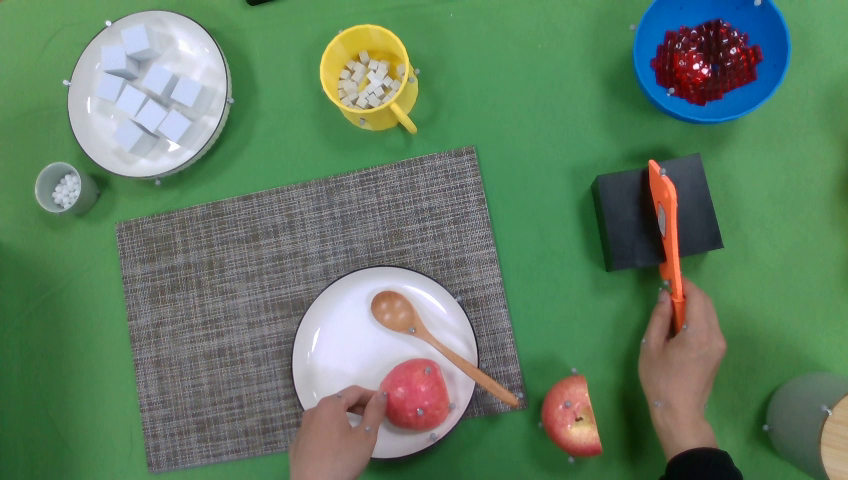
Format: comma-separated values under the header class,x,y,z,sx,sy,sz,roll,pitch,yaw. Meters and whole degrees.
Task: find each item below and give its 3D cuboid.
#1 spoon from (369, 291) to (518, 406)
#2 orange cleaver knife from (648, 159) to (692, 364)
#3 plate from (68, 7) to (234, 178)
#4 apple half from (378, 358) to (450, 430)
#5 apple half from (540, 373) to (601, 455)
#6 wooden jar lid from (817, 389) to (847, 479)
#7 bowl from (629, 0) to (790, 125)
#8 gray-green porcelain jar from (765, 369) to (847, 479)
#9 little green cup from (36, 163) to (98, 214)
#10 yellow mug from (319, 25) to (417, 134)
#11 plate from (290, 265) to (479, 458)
class,x,y,z,sx,sy,sz,roll,pitch,yaw
spoon,0.019,0.117,0.648,0.192,0.022,0.041,34,78,22
orange cleaver knife,0.250,0.024,0.620,0.012,0.077,0.212,-12,107,6
plate,-0.326,-0.176,0.738,0.207,0.039,0.207,-1,85,8
apple half,-0.010,0.166,0.647,0.081,0.033,0.081,1,74,-4
apple half,0.147,0.181,0.626,0.053,0.075,0.080,-14,87,10
wooden jar lid,0.382,0.171,0.504,0.108,0.021,0.108,0,87,7
bowl,0.287,-0.186,0.635,0.151,0.077,0.151,-1,85,8
gray-green porcelain jar,0.391,0.178,0.565,0.106,0.127,0.105,-1,84,8
little green cup,-0.434,-0.061,0.740,0.061,0.039,0.061,0,86,6
yellow mug,-0.052,-0.171,0.686,0.100,0.064,0.130,-40,82,3
plate,-0.043,0.131,0.669,0.209,0.038,0.208,-1,86,7
